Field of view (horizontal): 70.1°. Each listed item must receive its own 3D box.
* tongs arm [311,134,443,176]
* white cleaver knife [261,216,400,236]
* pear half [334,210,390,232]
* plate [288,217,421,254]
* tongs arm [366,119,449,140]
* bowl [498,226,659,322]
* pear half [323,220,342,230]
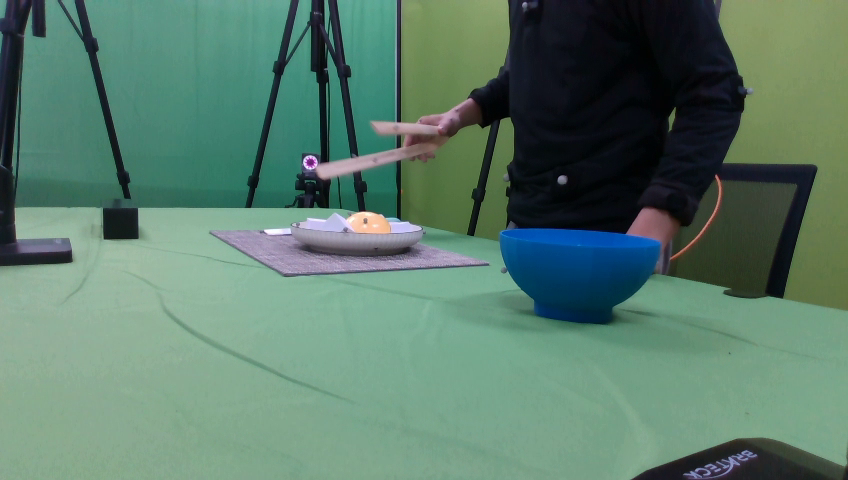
[{"bbox_3d":[-0.074,-0.171,1.161,0.050,0.026,0.386,-34,-5,32],"label":"tongs arm"},{"bbox_3d":[-0.169,-0.021,1.156,0.288,0.021,0.065,-7,20,-33],"label":"white cleaver knife"},{"bbox_3d":[-0.107,-0.017,0.920,0.110,0.056,0.076,-5,5,-20],"label":"pear half"},{"bbox_3d":[-0.109,-0.007,0.956,0.208,0.039,0.207,2,7,0],"label":"plate"},{"bbox_3d":[-0.019,-0.205,1.125,0.028,0.028,0.389,-37,-5,21],"label":"tongs arm"},{"bbox_3d":[0.145,0.032,0.583,0.151,0.077,0.151,2,7,0],"label":"bowl"},{"bbox_3d":[-0.127,-0.019,1.001,0.088,0.031,0.070,8,4,1],"label":"pear half"}]
